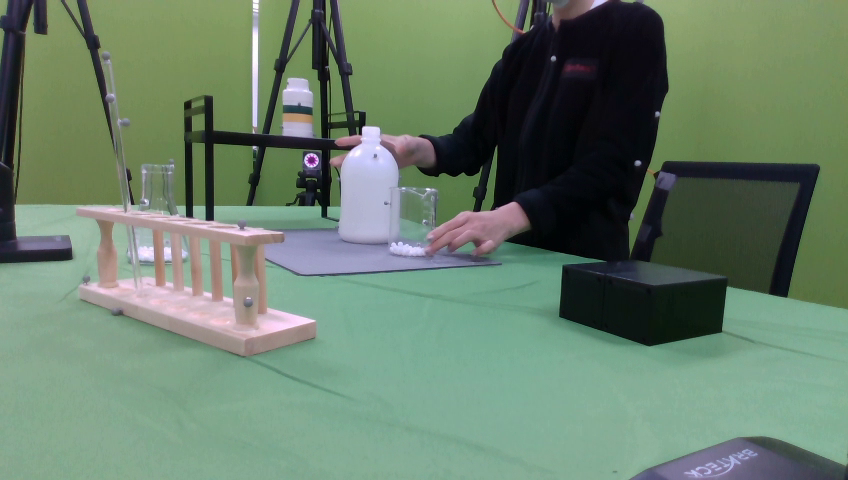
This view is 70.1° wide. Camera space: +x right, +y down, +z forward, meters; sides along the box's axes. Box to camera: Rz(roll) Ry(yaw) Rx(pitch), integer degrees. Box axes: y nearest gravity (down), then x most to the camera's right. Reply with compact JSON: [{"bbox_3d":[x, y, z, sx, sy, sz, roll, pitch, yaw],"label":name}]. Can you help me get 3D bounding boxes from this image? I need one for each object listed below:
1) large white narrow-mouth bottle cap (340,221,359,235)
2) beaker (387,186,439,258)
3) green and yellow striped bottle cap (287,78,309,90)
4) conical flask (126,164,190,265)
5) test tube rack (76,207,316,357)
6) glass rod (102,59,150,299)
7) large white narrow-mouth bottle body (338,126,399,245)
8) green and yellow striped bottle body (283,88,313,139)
[{"bbox_3d":[-0.139,-0.023,1.127,0.038,0.024,0.037,4,8,0],"label":"large white narrow-mouth bottle cap"},{"bbox_3d":[-0.015,-0.027,0.885,0.074,0.100,0.083,-1,8,-20],"label":"beaker"},{"bbox_3d":[-0.265,-0.326,1.268,0.045,0.020,0.045,4,6,0],"label":"green and yellow striped bottle cap"},{"bbox_3d":[-0.332,-0.033,0.756,0.075,0.122,0.075,2,7,0],"label":"conical flask"},{"bbox_3d":[-0.196,0.023,0.500,0.241,0.085,0.067,8,9,36],"label":"test tube rack"},{"bbox_3d":[-0.243,-0.045,0.496,0.008,0.199,0.008,-4,13,1],"label":"glass rod"},{"bbox_3d":[-0.091,-0.093,1.014,0.102,0.194,0.101,3,9,0],"label":"large white narrow-mouth bottle body"},{"bbox_3d":[-0.266,-0.275,1.275,0.063,0.119,0.063,3,7,0],"label":"green and yellow striped bottle body"}]
